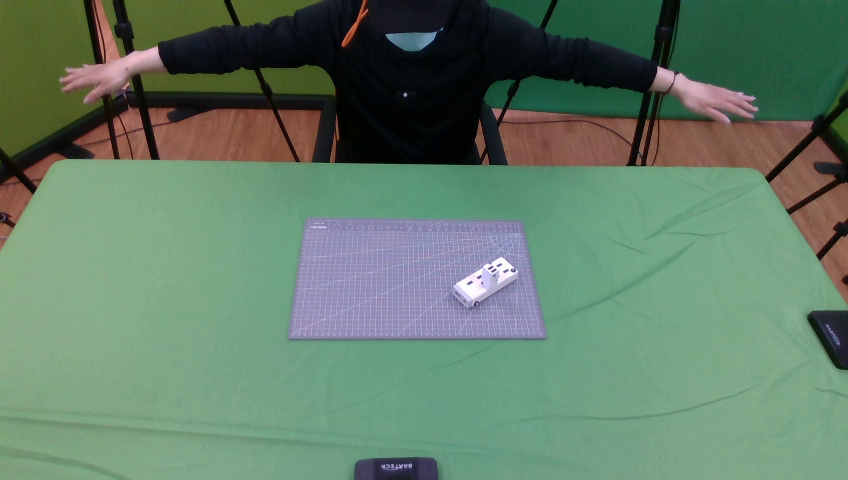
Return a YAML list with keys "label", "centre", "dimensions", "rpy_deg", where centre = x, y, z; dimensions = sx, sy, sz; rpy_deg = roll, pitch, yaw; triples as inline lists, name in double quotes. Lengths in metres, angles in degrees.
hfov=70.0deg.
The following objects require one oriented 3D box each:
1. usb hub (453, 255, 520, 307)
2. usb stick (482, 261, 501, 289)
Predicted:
- label: "usb hub"
  centre: [0.117, 0.076, 1.122]
  dimensions: [0.125, 0.025, 0.049]
  rpy_deg: [-28, 55, -26]
- label: "usb stick"
  centre: [0.120, 0.068, 1.090]
  dimensions: [0.021, 0.059, 0.027]
  rpy_deg: [-30, 57, -28]
